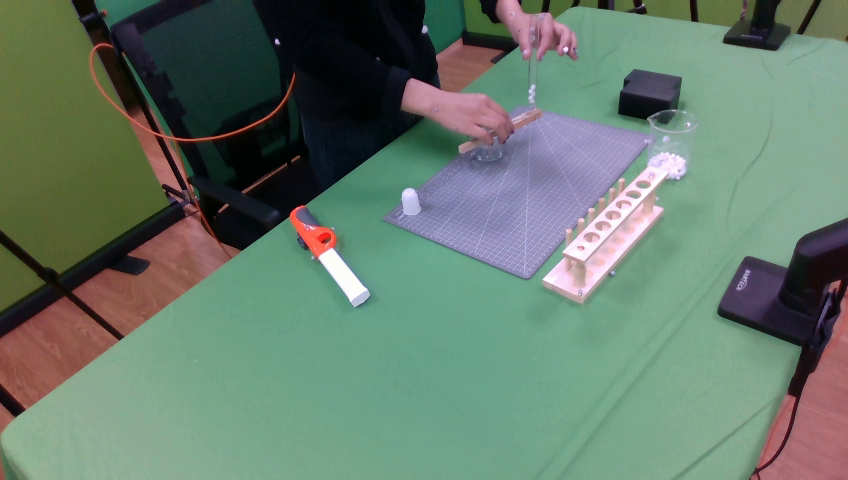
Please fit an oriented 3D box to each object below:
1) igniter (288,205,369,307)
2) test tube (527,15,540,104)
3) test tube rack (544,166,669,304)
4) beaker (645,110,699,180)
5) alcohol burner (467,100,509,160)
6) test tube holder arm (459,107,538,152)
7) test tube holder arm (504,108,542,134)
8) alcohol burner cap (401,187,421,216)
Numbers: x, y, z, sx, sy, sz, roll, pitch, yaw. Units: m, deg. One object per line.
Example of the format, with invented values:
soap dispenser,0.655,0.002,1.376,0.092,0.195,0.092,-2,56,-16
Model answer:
igniter,-0.163,0.018,0.986,0.057,0.025,0.274,-33,45,-12
test tube,0.185,-0.304,1.028,0.017,0.151,0.017,-3,34,2
test tube rack,0.274,-0.018,0.903,0.066,0.085,0.243,26,51,35
beaker,0.417,-0.160,1.032,0.083,0.101,0.074,25,51,34
alcohol burner,0.118,-0.210,1.131,0.078,0.119,0.077,-5,42,5
test tube holder arm,0.133,-0.193,1.054,0.179,0.015,0.013,-28,42,-22
test tube holder arm,0.173,-0.211,1.068,0.088,0.015,0.010,-29,42,-23
alcohol burner cap,-0.025,-0.070,1.048,0.034,0.048,0.033,-5,41,5
